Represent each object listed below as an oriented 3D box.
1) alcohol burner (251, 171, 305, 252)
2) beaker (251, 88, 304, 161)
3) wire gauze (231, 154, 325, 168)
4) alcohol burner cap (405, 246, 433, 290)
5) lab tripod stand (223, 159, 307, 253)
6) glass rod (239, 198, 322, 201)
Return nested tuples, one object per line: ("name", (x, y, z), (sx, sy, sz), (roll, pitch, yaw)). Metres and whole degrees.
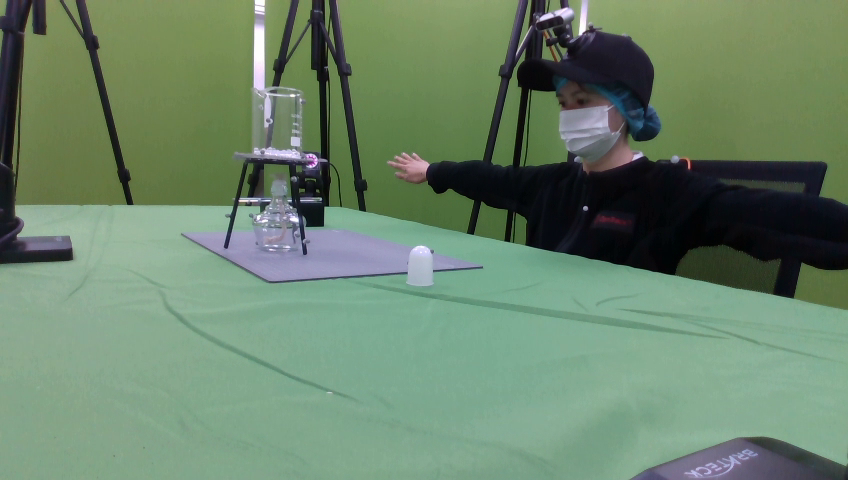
("alcohol burner", (-0.214, -0.042, 0.888), (0.078, 0.119, 0.078), (2, 9, 0))
("beaker", (-0.214, -0.165, 0.874), (0.074, 0.100, 0.084), (4, 6, 15))
("wire gauze", (-0.215, -0.117, 0.882), (0.125, 0.011, 0.121), (3, 7, -19))
("alcohol burner cap", (-0.005, 0.031, 0.698), (0.034, 0.048, 0.034), (3, 8, 0))
("lab tripod stand", (-0.220, -0.053, 0.896), (0.148, 0.131, 0.148), (1, 6, 0))
("glass rod", (-0.292, -0.082, 1.232), (0.201, 0.008, 0.008), (-4, 10, -44))
